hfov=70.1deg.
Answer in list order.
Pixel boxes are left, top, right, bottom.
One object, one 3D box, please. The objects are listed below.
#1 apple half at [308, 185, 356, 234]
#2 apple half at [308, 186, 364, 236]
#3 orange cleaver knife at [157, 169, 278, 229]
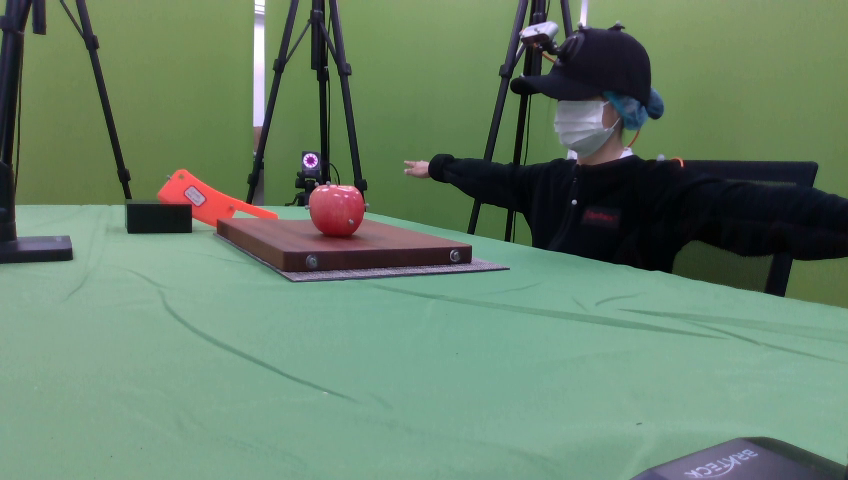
[{"bbox_3d":[-0.143,-0.047,0.907,0.082,0.081,0.032,-1,12,-31],"label":"apple half"},{"bbox_3d":[-0.123,-0.041,0.874,0.081,0.074,0.053,3,9,-32],"label":"apple half"},{"bbox_3d":[-0.377,-0.061,1.116,0.212,0.077,0.012,25,-7,-28],"label":"orange cleaver knife"}]
